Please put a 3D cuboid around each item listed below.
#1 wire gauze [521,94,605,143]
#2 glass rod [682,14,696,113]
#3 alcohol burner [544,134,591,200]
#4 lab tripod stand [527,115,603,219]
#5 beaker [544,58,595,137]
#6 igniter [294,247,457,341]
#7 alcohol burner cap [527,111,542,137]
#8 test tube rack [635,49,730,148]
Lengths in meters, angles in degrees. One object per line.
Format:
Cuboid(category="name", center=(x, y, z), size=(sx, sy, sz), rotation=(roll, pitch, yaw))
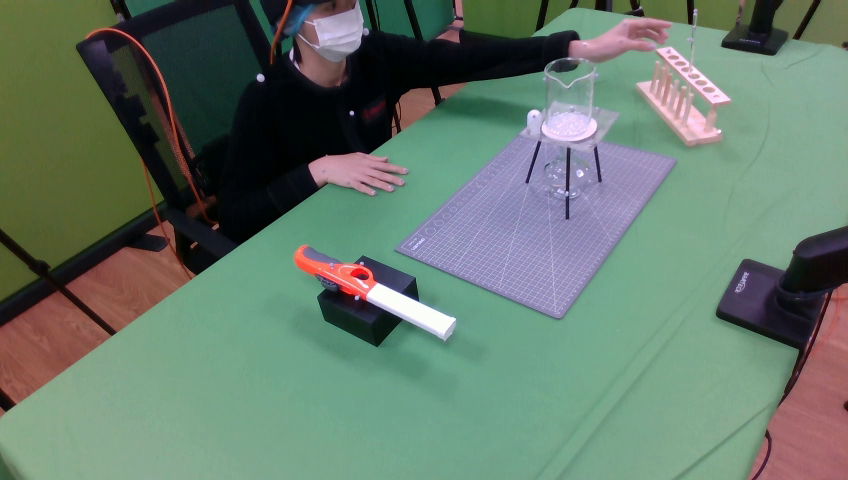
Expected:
Cuboid(category="wire gauze", center=(0.219, -0.190, 0.949), size=(0.121, 0.011, 0.125), rotation=(7, 46, 14))
Cuboid(category="glass rod", center=(0.495, -0.326, 1.132), size=(0.008, 0.201, 0.008), rotation=(-8, 42, 8))
Cuboid(category="alcohol burner", center=(0.241, -0.127, 1.014), size=(0.078, 0.119, 0.077), rotation=(-5, 42, 5))
Cuboid(category="lab tripod stand", center=(0.234, -0.129, 1.002), size=(0.148, 0.132, 0.147), rotation=(-6, 40, 6))
Cuboid(category="beaker", center=(0.222, -0.214, 0.927), size=(0.074, 0.101, 0.084), rotation=(3, 42, 16))
Cuboid(category="igniter", center=(-0.077, 0.068, 0.831), size=(0.274, 0.025, 0.057), rotation=(22, 48, 27))
Cuboid(category="alcohol burner cap", center=(0.221, -0.233, 1.200), size=(0.034, 0.048, 0.033), rotation=(-6, 41, 6))
Cuboid(category="test tube rack", center=(0.497, -0.283, 1.184), size=(0.067, 0.085, 0.240), rotation=(-10, 40, -2))
